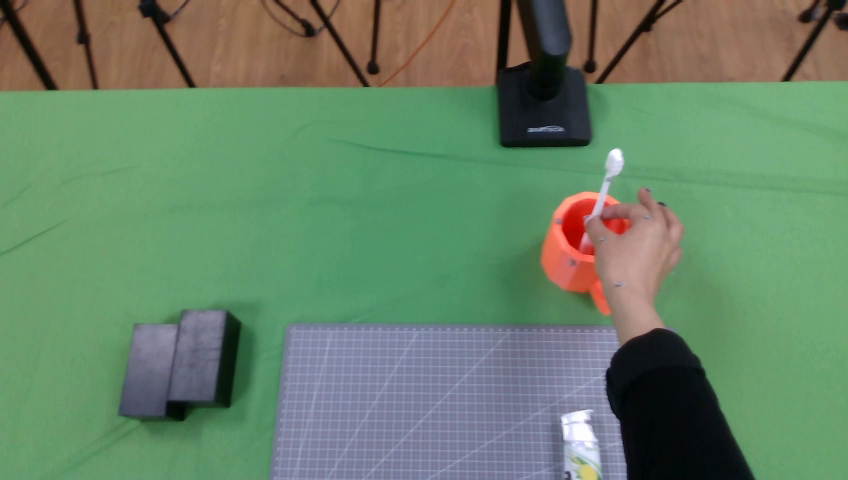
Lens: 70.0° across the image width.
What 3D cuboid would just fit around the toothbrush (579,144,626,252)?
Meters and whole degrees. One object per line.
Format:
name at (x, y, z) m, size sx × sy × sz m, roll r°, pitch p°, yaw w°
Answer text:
toothbrush at (0.185, -0.024, 0.648) m, size 0.014 × 0.183 × 0.016 m, roll -10°, pitch 47°, yaw -14°

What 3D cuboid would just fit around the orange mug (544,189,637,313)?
orange mug at (0.193, 0.016, 0.684) m, size 0.083 × 0.101 × 0.125 m, roll -20°, pitch 63°, yaw -6°

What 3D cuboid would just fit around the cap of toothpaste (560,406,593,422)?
cap of toothpaste at (0.163, 0.186, 0.644) m, size 0.037 × 0.037 × 0.011 m, roll -11°, pitch 64°, yaw -3°

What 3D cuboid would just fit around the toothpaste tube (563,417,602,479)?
toothpaste tube at (0.162, 0.263, 0.619) m, size 0.055 × 0.035 × 0.164 m, roll -3°, pitch 71°, yaw 8°
